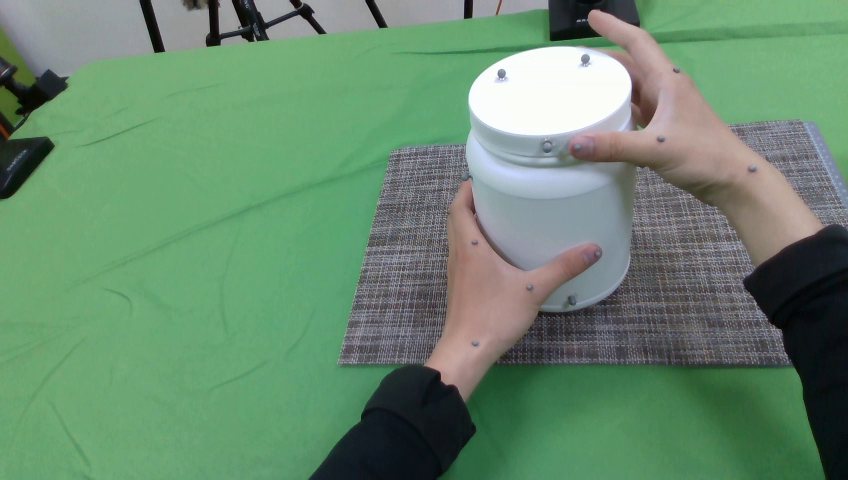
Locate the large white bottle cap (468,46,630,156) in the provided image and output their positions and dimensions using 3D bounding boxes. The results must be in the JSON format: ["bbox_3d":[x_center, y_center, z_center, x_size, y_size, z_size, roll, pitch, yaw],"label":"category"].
[{"bbox_3d":[0.089,-0.103,0.436,0.115,0.018,0.113,-7,45,8],"label":"large white bottle cap"}]

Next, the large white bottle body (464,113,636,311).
[{"bbox_3d":[0.104,-0.044,0.497,0.130,0.186,0.129,-7,45,8],"label":"large white bottle body"}]
